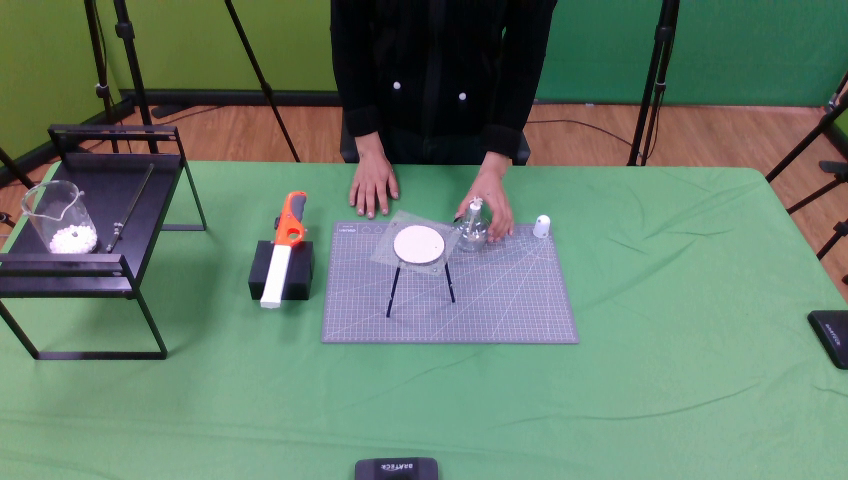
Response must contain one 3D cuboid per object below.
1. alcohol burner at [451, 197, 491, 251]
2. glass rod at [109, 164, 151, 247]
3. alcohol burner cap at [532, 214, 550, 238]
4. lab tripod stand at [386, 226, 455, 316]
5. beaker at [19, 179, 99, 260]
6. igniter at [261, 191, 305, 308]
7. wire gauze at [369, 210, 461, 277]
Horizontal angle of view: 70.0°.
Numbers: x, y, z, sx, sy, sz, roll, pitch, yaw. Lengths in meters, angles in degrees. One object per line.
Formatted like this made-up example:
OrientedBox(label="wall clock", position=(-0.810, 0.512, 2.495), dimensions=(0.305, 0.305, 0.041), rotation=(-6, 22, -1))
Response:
OrientedBox(label="alcohol burner", position=(0.093, -0.036, 1.173), dimensions=(0.078, 0.120, 0.077), rotation=(2, 44, -1))
OrientedBox(label="glass rod", position=(-0.473, -0.061, 0.979), dimensions=(0.008, 0.008, 0.198), rotation=(1, 46, -3))
OrientedBox(label="alcohol burner cap", position=(0.240, -0.031, 1.228), dimensions=(0.034, 0.048, 0.033), rotation=(1, 46, -1))
OrientedBox(label="lab tripod stand", position=(-0.014, 0.054, 1.064), dimensions=(0.148, 0.132, 0.147), rotation=(2, 48, -2))
OrientedBox(label="beaker", position=(-0.522, -0.024, 0.878), dimensions=(0.074, 0.101, 0.083), rotation=(-26, 54, -25))
OrientedBox(label="igniter", position=(-0.255, 0.007, 1.104), dimensions=(0.057, 0.025, 0.275), rotation=(5, 47, -5))
OrientedBox(label="wire gauze", position=(-0.013, 0.006, 1.017), dimensions=(0.121, 0.011, 0.124), rotation=(17, 49, 12))
